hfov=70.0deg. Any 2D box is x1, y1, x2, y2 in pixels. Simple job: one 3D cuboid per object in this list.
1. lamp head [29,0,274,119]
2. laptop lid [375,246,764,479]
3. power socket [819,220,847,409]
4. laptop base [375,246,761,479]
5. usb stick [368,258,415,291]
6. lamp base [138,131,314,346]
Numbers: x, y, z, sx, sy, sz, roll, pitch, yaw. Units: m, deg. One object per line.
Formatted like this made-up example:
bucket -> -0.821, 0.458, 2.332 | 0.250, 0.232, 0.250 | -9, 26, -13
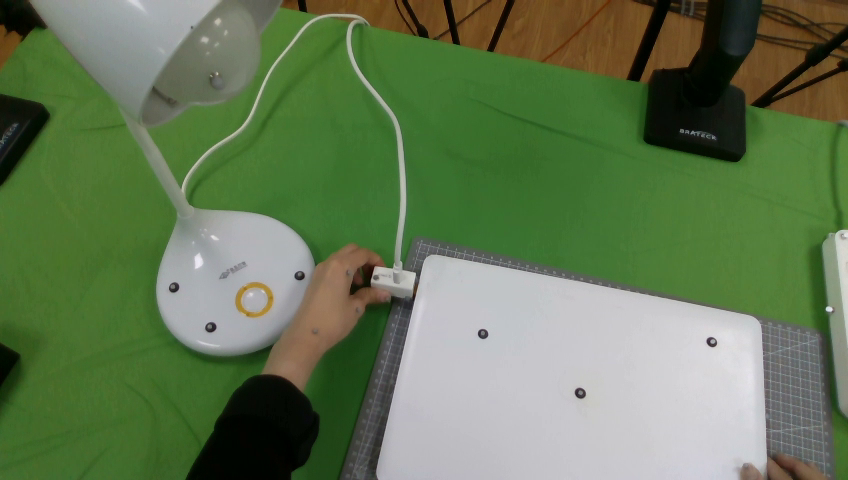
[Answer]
lamp head -> -0.145, -0.136, 0.294 | 0.123, 0.112, 0.112 | 40, 66, -9
laptop lid -> 0.147, 0.139, 0.583 | 0.356, 0.013, 0.240 | 12, 66, 4
power socket -> 0.462, 0.078, 0.632 | 0.072, 0.033, 0.225 | 12, 63, 3
laptop base -> 0.148, 0.143, 0.595 | 0.354, 0.023, 0.234 | 11, 66, 3
usb stick -> -0.028, 0.037, 0.627 | 0.059, 0.027, 0.021 | 11, 57, 0
lamp base -> -0.204, -0.010, 0.567 | 0.178, 0.181, 0.160 | 38, 67, 19
